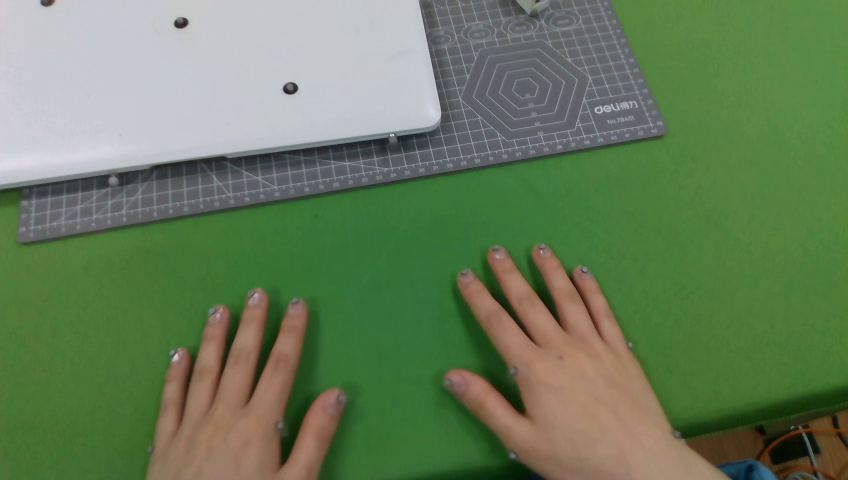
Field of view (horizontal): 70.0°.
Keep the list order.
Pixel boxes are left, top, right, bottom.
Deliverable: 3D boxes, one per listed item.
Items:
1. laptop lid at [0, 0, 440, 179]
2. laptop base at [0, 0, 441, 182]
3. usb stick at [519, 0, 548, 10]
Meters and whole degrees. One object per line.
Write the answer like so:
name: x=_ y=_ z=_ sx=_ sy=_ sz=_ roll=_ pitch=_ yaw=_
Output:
laptop lid: x=-0.178 y=-0.163 z=0.450 sx=0.357 sy=0.013 sz=0.239 roll=-7 pitch=68 yaw=-3
laptop base: x=-0.178 y=-0.160 z=0.462 sx=0.355 sy=0.023 sz=0.233 roll=-8 pitch=69 yaw=-4
usb stick: x=0.076 y=-0.213 z=0.481 sx=0.021 sy=0.027 sz=0.058 roll=-30 pitch=66 yaw=-12
